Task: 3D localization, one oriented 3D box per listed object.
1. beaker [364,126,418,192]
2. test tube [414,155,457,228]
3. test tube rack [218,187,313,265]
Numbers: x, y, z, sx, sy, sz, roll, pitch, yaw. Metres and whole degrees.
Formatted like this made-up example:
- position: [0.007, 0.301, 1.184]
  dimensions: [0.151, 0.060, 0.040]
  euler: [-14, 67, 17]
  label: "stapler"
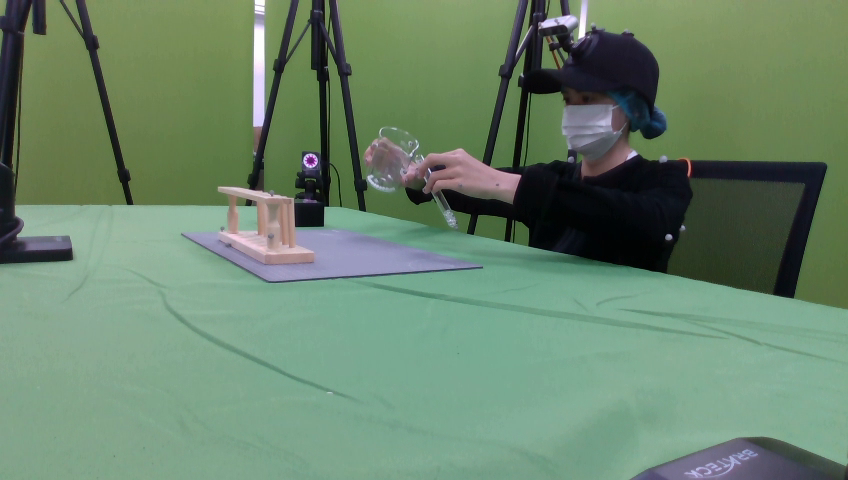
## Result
- position: [-0.061, -0.142, 1.092]
  dimensions: [0.074, 0.100, 0.083]
  euler: [-8, 47, -38]
  label: "beaker"
- position: [0.018, -0.080, 0.975]
  dimensions: [0.017, 0.149, 0.017]
  euler: [-20, -29, -11]
  label: "test tube"
- position: [-0.235, -0.027, 0.872]
  dimensions: [0.067, 0.085, 0.241]
  euler: [-2, 8, -32]
  label: "test tube rack"
